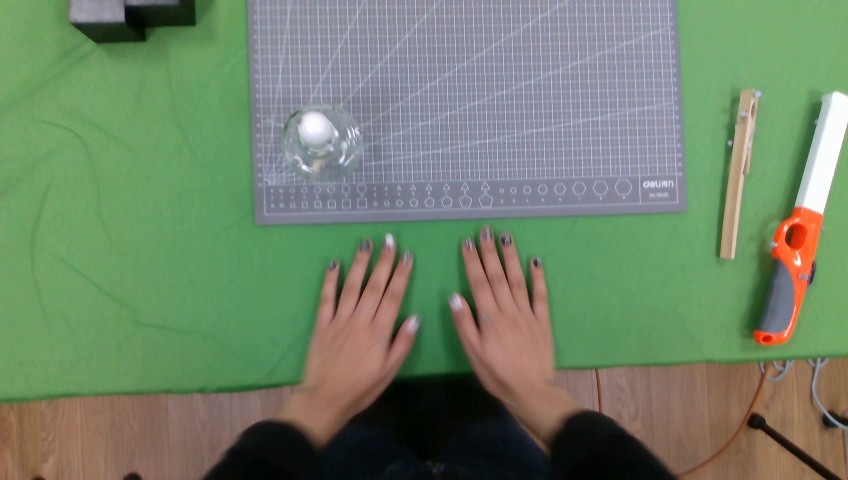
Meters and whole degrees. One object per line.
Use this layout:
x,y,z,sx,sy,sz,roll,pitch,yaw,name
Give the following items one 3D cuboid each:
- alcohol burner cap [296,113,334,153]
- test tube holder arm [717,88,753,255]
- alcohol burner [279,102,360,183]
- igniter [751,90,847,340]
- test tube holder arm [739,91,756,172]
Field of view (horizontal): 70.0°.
-0.097,-0.095,0.529,0.034,0.048,0.034,0,93,-5,alcohol burner cap
0.329,-0.072,0.642,0.013,0.015,0.178,10,88,-34,test tube holder arm
-0.099,-0.095,0.565,0.078,0.119,0.078,0,86,-5,alcohol burner
0.400,-0.024,0.642,0.057,0.025,0.276,18,87,-13,igniter
0.341,-0.116,0.647,0.010,0.015,0.087,11,88,-34,test tube holder arm
